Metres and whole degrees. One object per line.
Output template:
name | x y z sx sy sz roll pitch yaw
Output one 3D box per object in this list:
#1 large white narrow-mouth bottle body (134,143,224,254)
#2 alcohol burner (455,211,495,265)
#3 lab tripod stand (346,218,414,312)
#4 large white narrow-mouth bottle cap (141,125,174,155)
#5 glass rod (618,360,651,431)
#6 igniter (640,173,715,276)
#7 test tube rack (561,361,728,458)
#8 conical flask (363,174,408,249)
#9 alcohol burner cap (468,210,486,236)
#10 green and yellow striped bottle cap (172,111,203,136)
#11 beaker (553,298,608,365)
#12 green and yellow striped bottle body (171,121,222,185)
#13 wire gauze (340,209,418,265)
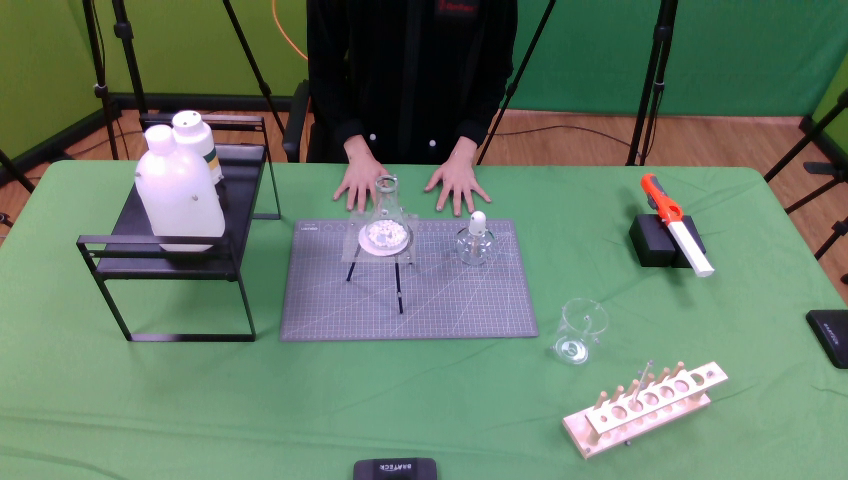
large white narrow-mouth bottle body | -0.358 -0.075 0.875 0.102 0.195 0.101 1 48 -1
alcohol burner | 0.097 -0.010 1.147 0.078 0.120 0.077 1 47 0
lab tripod stand | -0.070 0.037 1.075 0.148 0.132 0.147 1 47 -1
large white narrow-mouth bottle cap | -0.356 -0.134 0.810 0.038 0.024 0.037 2 48 -1
glass rod | 0.298 0.227 0.865 0.008 0.201 0.008 -2 48 2
igniter | 0.495 -0.039 1.204 0.057 0.025 0.274 -2 47 -12
test tube rack | 0.341 0.248 0.940 0.243 0.085 0.066 -15 49 -18
conical flask | -0.063 -0.049 0.985 0.075 0.122 0.075 2 46 -2
alcohol burner cap | 0.100 -0.034 1.119 0.034 0.048 0.033 0 52 0
green and yellow striped bottle cap | -0.374 -0.185 0.958 0.045 0.020 0.045 3 46 -3
beaker | 0.260 0.154 1.015 0.073 0.101 0.084 37 54 27
green and yellow striped bottle body | -0.375 -0.149 0.995 0.063 0.120 0.063 2 46 -2
wire gauze | -0.074 -0.006 1.024 0.121 0.011 0.124 2 48 1
